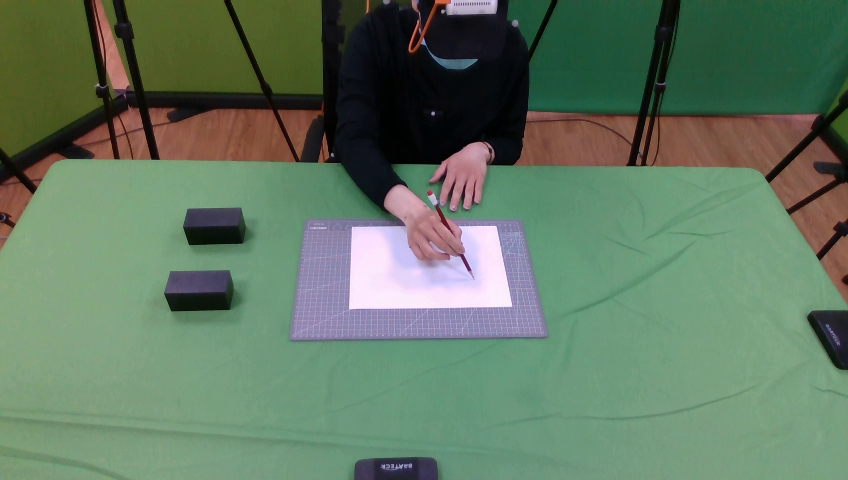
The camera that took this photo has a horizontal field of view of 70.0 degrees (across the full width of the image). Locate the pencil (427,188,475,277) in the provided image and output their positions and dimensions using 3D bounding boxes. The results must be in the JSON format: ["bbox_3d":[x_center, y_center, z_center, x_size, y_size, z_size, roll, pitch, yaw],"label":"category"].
[{"bbox_3d":[0.052,-0.011,1.109,0.012,0.195,0.012,-26,19,9],"label":"pencil"}]
